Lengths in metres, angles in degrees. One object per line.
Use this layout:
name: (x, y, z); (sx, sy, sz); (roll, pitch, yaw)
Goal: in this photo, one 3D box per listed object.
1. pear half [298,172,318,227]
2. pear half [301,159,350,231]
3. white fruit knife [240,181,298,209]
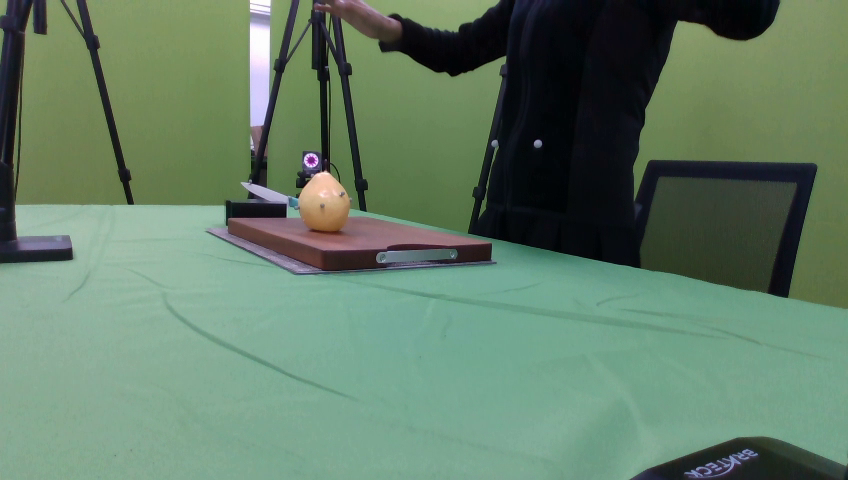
pear half: (-0.172, -0.062, 0.938); (0.031, 0.088, 0.071); (8, 14, 34)
pear half: (-0.143, -0.068, 0.917); (0.055, 0.110, 0.077); (8, 12, 34)
white fruit knife: (-0.269, -0.077, 1.213); (0.208, 0.027, 0.016); (22, 5, -28)
